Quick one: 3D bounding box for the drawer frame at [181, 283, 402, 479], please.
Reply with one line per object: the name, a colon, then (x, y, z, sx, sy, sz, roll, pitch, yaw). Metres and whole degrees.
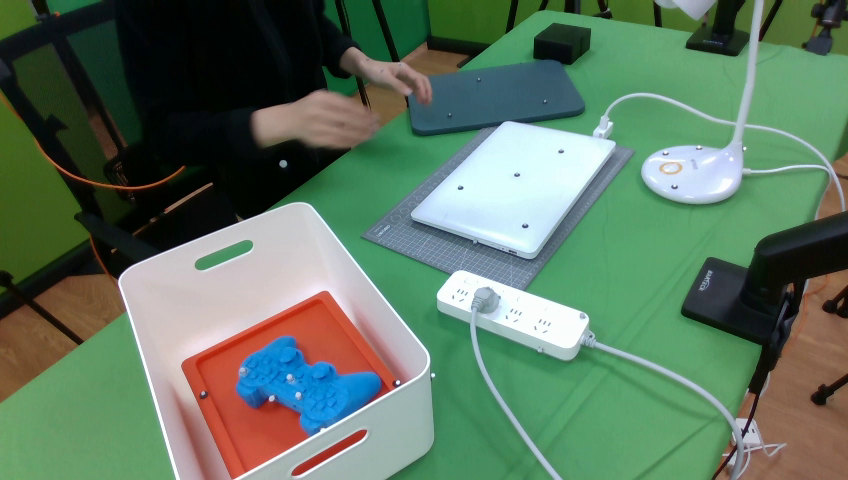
drawer frame: (-0.153, 0.179, 0.727, 0.202, 0.083, 0.211, -28, 49, -20)

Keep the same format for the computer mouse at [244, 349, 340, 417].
computer mouse: (-0.165, 0.172, 0.754, 0.118, 0.041, 0.062, -18, 34, -18)

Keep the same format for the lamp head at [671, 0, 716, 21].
lamp head: (0.375, -0.373, 0.807, 0.122, 0.113, 0.112, -40, 27, 32)

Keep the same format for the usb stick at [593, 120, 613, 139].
usb stick: (0.336, -0.201, 1.147, 0.021, 0.027, 0.059, 26, 54, 26)

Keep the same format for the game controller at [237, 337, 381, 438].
game controller: (-0.135, 0.157, 0.674, 0.154, 0.052, 0.097, 17, 50, 27)

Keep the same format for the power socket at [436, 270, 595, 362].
power socket: (0.118, 0.101, 0.832, 0.225, 0.033, 0.072, 19, 48, 27)

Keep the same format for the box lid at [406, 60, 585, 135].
box lid: (0.150, -0.320, 1.340, 0.372, 0.015, 0.261, -8, 40, 0)

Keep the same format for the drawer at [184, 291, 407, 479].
drawer: (-0.154, 0.178, 0.719, 0.195, 0.073, 0.210, -27, 40, -22)

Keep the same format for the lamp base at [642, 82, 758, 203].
lamp base: (0.464, -0.174, 0.992, 0.179, 0.181, 0.159, -5, 41, -1)

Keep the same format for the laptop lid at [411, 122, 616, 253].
laptop lid: (0.165, -0.111, 1.067, 0.240, 0.013, 0.357, 19, 46, 31)

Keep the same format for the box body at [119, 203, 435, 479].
box body: (-0.175, 0.142, 0.725, 0.255, 0.161, 0.360, -25, 43, -20)

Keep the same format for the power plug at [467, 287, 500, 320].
power plug: (0.073, 0.092, 0.813, 0.035, 0.053, 0.073, 29, 54, 34)

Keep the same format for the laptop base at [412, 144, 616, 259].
laptop base: (0.168, -0.101, 1.073, 0.234, 0.023, 0.355, 17, 46, 30)
